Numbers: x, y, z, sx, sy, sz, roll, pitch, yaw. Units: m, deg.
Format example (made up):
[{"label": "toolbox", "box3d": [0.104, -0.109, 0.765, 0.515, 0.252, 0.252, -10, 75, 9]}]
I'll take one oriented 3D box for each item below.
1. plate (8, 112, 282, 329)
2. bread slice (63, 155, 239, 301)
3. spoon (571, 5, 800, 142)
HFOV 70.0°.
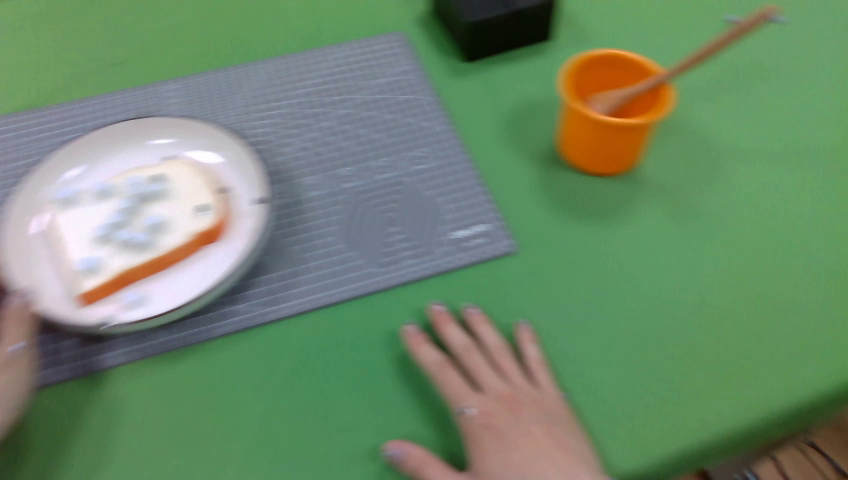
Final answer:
[{"label": "plate", "box3d": [-0.218, -0.018, 0.493, 0.209, 0.038, 0.207, 0, 56, 0]}, {"label": "bread slice", "box3d": [-0.222, -0.020, 0.498, 0.131, 0.019, 0.104, -28, 61, -16]}, {"label": "spoon", "box3d": [0.204, -0.135, 0.500, 0.193, 0.022, 0.041, -25, 50, 33]}]
